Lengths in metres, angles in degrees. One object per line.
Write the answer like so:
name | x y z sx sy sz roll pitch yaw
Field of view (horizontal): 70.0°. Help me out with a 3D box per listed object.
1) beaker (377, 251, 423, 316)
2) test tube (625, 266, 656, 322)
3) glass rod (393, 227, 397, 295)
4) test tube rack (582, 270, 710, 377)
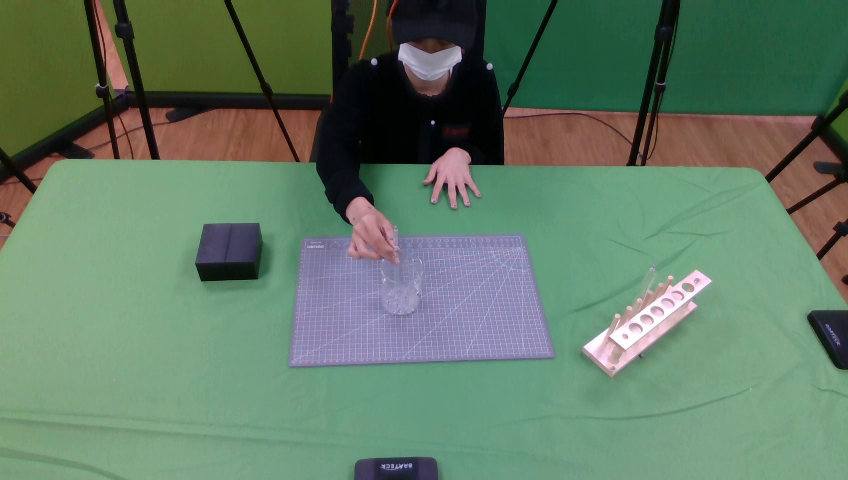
beaker | -0.040 0.081 1.060 0.074 0.101 0.083 -32 57 -30
test tube | 0.366 0.096 1.027 0.017 0.151 0.017 1 47 0
glass rod | -0.050 0.040 1.021 0.008 0.200 0.008 1 54 -2
test tube rack | 0.389 0.132 1.057 0.242 0.085 0.066 -28 54 -28
